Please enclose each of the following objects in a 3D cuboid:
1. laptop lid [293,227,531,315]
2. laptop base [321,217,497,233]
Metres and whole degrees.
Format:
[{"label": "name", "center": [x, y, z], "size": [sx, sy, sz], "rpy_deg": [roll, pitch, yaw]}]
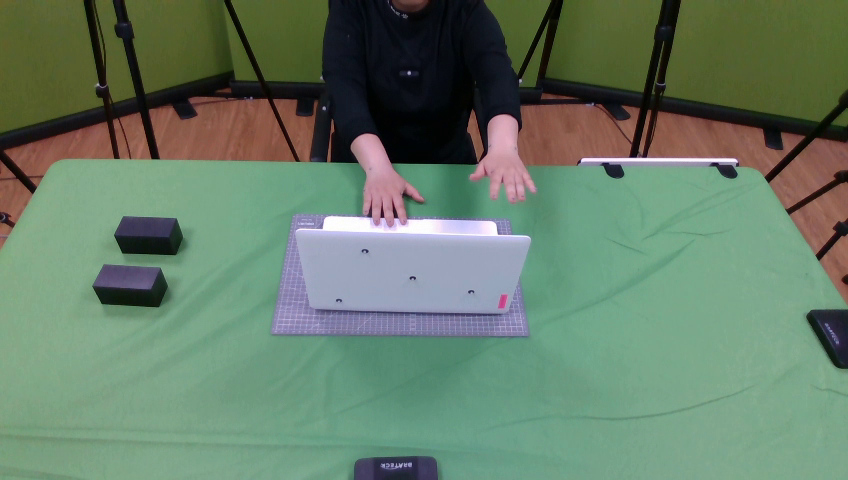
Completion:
[{"label": "laptop lid", "center": [-0.021, 0.057, 0.976], "size": [0.357, 0.243, 0.013], "rpy_deg": [2, 53, -4]}, {"label": "laptop base", "center": [-0.028, 0.044, 1.154], "size": [0.354, 0.023, 0.234], "rpy_deg": [1, 42, -3]}]
